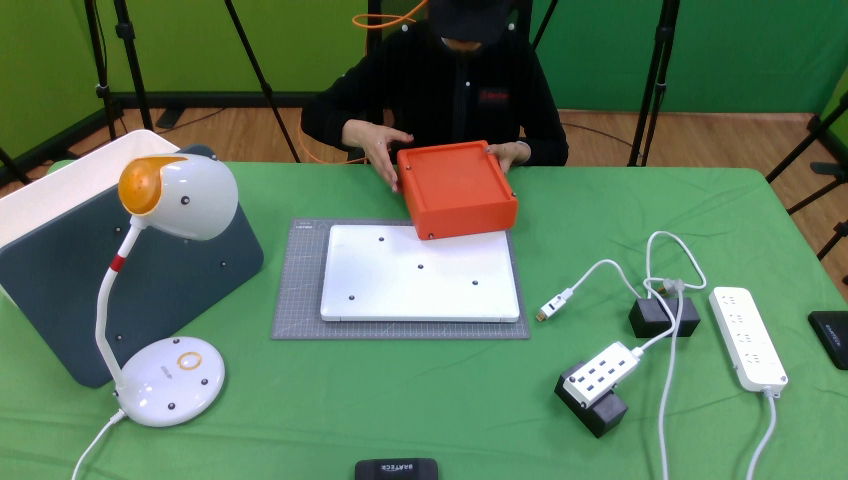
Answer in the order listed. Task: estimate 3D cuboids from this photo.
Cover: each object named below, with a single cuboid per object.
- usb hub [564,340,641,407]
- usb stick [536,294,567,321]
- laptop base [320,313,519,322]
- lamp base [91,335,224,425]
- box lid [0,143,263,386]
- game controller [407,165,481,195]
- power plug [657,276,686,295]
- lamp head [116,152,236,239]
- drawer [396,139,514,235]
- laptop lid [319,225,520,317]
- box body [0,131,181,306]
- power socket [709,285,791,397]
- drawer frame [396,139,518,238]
[{"bbox_3d":[0.278,0.205,0.944,0.125,0.025,0.049,-27,52,-28],"label":"usb hub"},{"bbox_3d":[0.226,0.122,1.083,0.059,0.027,0.021,-38,77,-8],"label":"usb stick"},{"bbox_3d":[-0.009,0.062,1.138,0.354,0.023,0.234,1,43,-3],"label":"laptop base"},{"bbox_3d":[-0.401,0.170,0.892,0.160,0.181,0.179,30,53,23],"label":"lamp base"},{"bbox_3d":[-0.444,0.032,0.979,0.015,0.264,0.371,13,42,41],"label":"box lid"},{"bbox_3d":[0.046,-0.130,1.279,0.155,0.052,0.096,-9,15,-14],"label":"game controller"},{"bbox_3d":[0.450,0.087,1.113,0.073,0.052,0.035,-13,72,-55],"label":"power plug"},{"bbox_3d":[-0.315,-0.057,0.747,0.112,0.112,0.123,26,10,20],"label":"lamp head"},{"bbox_3d":[0.058,-0.112,1.241,0.195,0.073,0.210,-8,45,-11],"label":"drawer"},{"bbox_3d":[-0.008,0.052,1.131,0.357,0.013,0.240,2,44,-2],"label":"laptop lid"},{"bbox_3d":[-0.550,-0.007,1.068,0.253,0.161,0.363,30,51,23],"label":"box body"},{"bbox_3d":[0.568,0.168,1.064,0.072,0.033,0.225,2,46,0],"label":"power socket"},{"bbox_3d":[0.060,-0.110,1.239,0.202,0.083,0.212,-8,44,-11],"label":"drawer frame"}]
